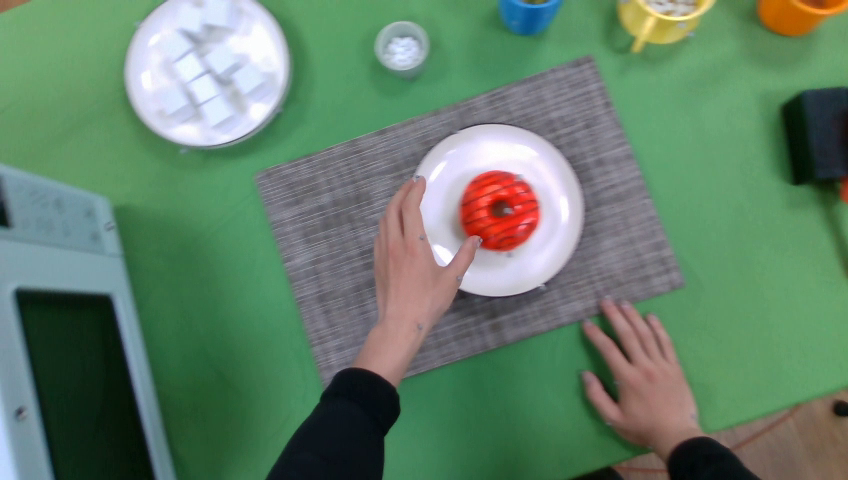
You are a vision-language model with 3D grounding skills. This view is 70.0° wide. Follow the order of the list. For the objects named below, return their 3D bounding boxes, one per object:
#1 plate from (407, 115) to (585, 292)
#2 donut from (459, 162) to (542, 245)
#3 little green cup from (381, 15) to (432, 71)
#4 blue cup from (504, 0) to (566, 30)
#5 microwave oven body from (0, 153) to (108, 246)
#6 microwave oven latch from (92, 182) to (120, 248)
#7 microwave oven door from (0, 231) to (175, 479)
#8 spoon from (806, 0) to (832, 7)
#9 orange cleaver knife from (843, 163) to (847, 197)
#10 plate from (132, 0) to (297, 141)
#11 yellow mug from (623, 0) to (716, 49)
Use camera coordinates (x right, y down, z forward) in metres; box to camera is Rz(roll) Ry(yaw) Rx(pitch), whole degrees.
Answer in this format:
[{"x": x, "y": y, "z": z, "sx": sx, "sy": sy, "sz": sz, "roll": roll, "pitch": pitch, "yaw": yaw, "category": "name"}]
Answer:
[{"x": 0.084, "y": -0.042, "z": 0.719, "sx": 0.209, "sy": 0.038, "sz": 0.208, "roll": 0, "pitch": 85, "yaw": 4, "category": "plate"}, {"x": 0.088, "y": -0.043, "z": 0.708, "sx": 0.099, "sy": 0.048, "sz": 0.099, "roll": -1, "pitch": 85, "yaw": 7, "category": "donut"}, {"x": -0.019, "y": -0.241, "z": 0.748, "sx": 0.061, "sy": 0.039, "sz": 0.061, "roll": 0, "pitch": 84, "yaw": 5, "category": "little green cup"}, {"x": 0.131, "y": -0.296, "z": 0.711, "sx": 0.092, "sy": 0.100, "sz": 0.092, "roll": 0, "pitch": 86, "yaw": 3, "category": "blue cup"}, {"x": -0.499, "y": 0.170, "z": 0.630, "sx": 0.326, "sy": 0.261, "sz": 0.440, "roll": -16, "pitch": 84, "yaw": 2, "category": "microwave oven body"}, {"x": -0.396, "y": -0.029, "z": 0.737, "sx": 0.030, "sy": 0.029, "sz": 0.079, "roll": -14, "pitch": 85, "yaw": 2, "category": "microwave oven latch"}, {"x": -0.348, "y": 0.172, "z": 0.613, "sx": 0.039, "sy": 0.244, "sz": 0.354, "roll": -16, "pitch": 83, "yaw": 2, "category": "microwave oven door"}, {"x": 0.412, "y": -0.281, "z": 0.666, "sx": 0.021, "sy": 0.194, "sz": 0.041, "roll": -28, "pitch": 79, "yaw": 46, "category": "spoon"}, {"x": 0.491, "y": -0.063, "z": 0.674, "sx": 0.012, "sy": 0.076, "sz": 0.213, "roll": -4, "pitch": 114, "yaw": 6, "category": "orange cleaver knife"}, {"x": -0.259, "y": -0.224, "z": 0.763, "sx": 0.207, "sy": 0.039, "sz": 0.207, "roll": 0, "pitch": 85, "yaw": 4, "category": "plate"}, {"x": 0.286, "y": -0.286, "z": 0.716, "sx": 0.100, "sy": 0.064, "sz": 0.131, "roll": 30, "pitch": 89, "yaw": 6, "category": "yellow mug"}]
